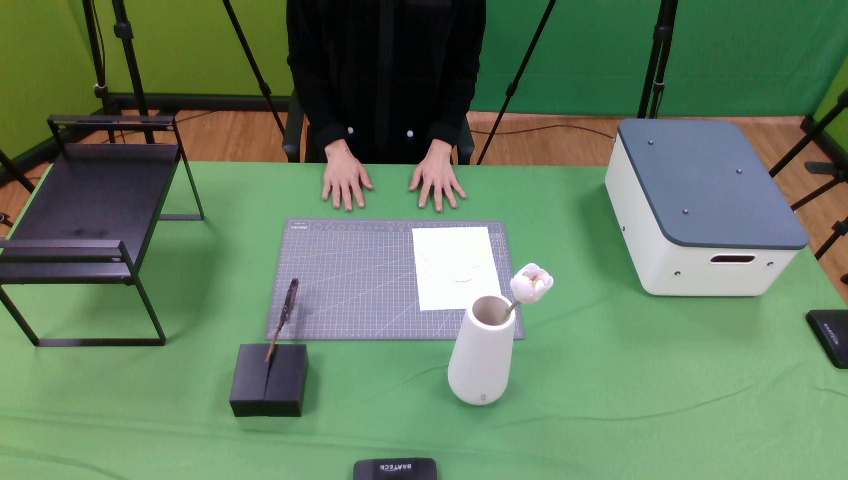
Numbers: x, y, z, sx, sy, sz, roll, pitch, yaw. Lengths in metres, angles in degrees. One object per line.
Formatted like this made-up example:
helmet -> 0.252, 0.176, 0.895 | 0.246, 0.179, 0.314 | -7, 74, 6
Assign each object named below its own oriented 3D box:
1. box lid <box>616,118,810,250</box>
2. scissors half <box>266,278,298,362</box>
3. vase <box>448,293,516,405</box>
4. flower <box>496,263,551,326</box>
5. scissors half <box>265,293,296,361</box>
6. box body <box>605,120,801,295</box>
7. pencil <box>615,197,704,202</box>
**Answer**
box lid -> 0.533, -0.118, 1.151 | 0.263, 0.015, 0.369 | 1, 45, -4
scissors half -> -0.234, 0.127, 0.993 | 0.013, 0.040, 0.174 | 12, 46, -3
vase -> 0.091, 0.169, 0.921 | 0.098, 0.201, 0.097 | 3, 47, -3
flower -> 0.102, 0.120, 0.853 | 0.044, 0.363, 0.038 | -1, 64, -10
scissors half -> -0.239, 0.143, 1.005 | 0.013, 0.040, 0.174 | 17, 28, -6
box body -> 0.529, -0.068, 1.205 | 0.254, 0.161, 0.361 | 1, 46, -4
pencil -> 0.512, -0.090, 1.322 | 0.194, 0.012, 0.012 | 1, 46, 0
